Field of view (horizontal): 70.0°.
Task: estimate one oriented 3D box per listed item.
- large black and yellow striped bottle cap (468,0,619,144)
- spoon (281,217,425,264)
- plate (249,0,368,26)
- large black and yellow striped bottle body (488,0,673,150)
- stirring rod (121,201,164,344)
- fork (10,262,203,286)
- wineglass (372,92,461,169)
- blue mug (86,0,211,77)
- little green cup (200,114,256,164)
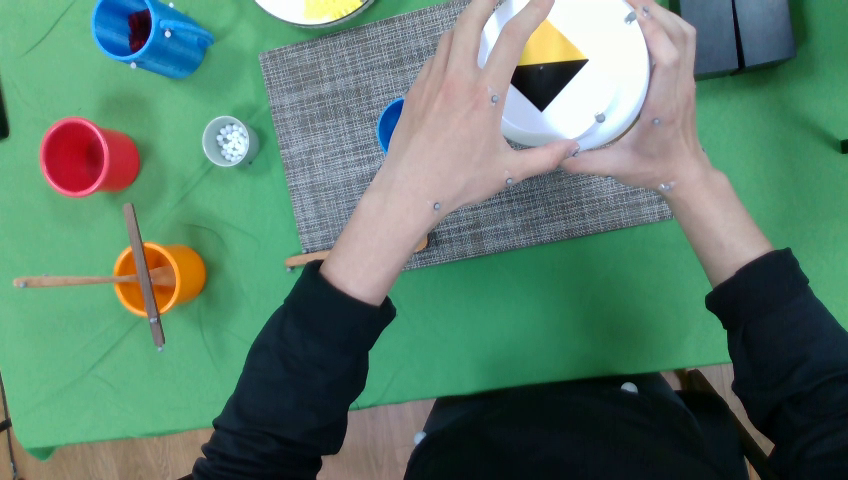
[{"bbox_3d":[0.086,-0.129,0.451,0.114,0.019,0.115,8,106,30],"label":"large black and yellow striped bottle cap"},{"bbox_3d":[-0.091,0.006,0.748,0.193,0.021,0.042,-12,114,11],"label":"spoon"},{"bbox_3d":[-0.133,-0.358,0.719,0.209,0.038,0.209,1,96,9],"label":"plate"},{"bbox_3d":[0.131,-0.147,0.520,0.130,0.184,0.131,9,108,30],"label":"large black and yellow striped bottle body"},{"bbox_3d":[-0.339,0.039,0.731,0.014,0.006,0.176,-12,92,11],"label":"stirring rod"},{"bbox_3d":[-0.381,0.044,0.741,0.208,0.018,0.028,-1,102,-33],"label":"fork"},{"bbox_3d":[-0.003,-0.112,0.646,0.073,0.172,0.074,1,94,10],"label":"wineglass"},{"bbox_3d":[-0.317,-0.248,0.726,0.116,0.106,0.082,2,95,10],"label":"blue mug"},{"bbox_3d":[-0.243,-0.124,0.758,0.061,0.038,0.061,1,95,11],"label":"little green cup"}]
